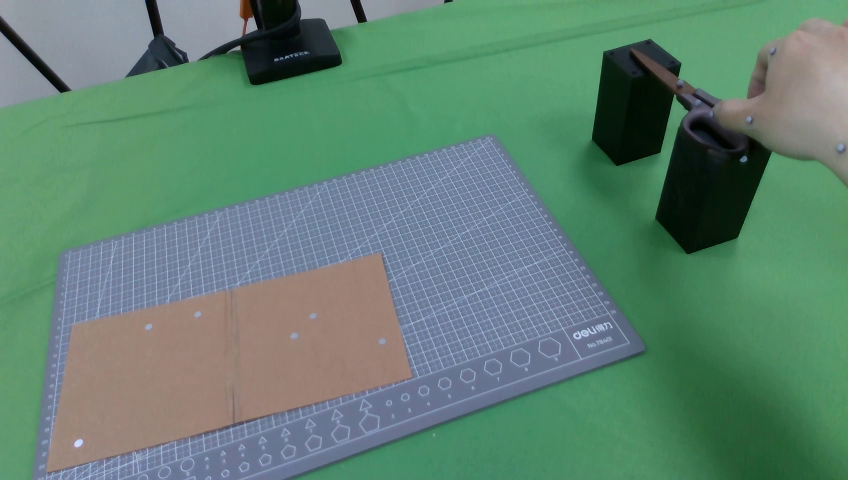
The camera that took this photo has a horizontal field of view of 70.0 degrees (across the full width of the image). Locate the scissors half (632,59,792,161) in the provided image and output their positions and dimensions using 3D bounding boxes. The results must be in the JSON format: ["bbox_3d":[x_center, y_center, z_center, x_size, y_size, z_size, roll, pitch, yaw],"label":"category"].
[{"bbox_3d":[0.231,-0.116,0.504,0.040,0.013,0.173,-28,47,-11],"label":"scissors half"}]

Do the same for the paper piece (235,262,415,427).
[{"bbox_3d":[-0.086,0.078,0.493,0.136,0.004,0.134,-12,44,-6],"label":"paper piece"}]

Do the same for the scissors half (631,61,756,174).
[{"bbox_3d":[0.213,-0.109,0.502,0.040,0.013,0.173,-12,45,-3],"label":"scissors half"}]

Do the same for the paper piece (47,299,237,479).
[{"bbox_3d":[-0.215,0.109,0.479,0.138,0.009,0.134,-13,42,-5],"label":"paper piece"}]
